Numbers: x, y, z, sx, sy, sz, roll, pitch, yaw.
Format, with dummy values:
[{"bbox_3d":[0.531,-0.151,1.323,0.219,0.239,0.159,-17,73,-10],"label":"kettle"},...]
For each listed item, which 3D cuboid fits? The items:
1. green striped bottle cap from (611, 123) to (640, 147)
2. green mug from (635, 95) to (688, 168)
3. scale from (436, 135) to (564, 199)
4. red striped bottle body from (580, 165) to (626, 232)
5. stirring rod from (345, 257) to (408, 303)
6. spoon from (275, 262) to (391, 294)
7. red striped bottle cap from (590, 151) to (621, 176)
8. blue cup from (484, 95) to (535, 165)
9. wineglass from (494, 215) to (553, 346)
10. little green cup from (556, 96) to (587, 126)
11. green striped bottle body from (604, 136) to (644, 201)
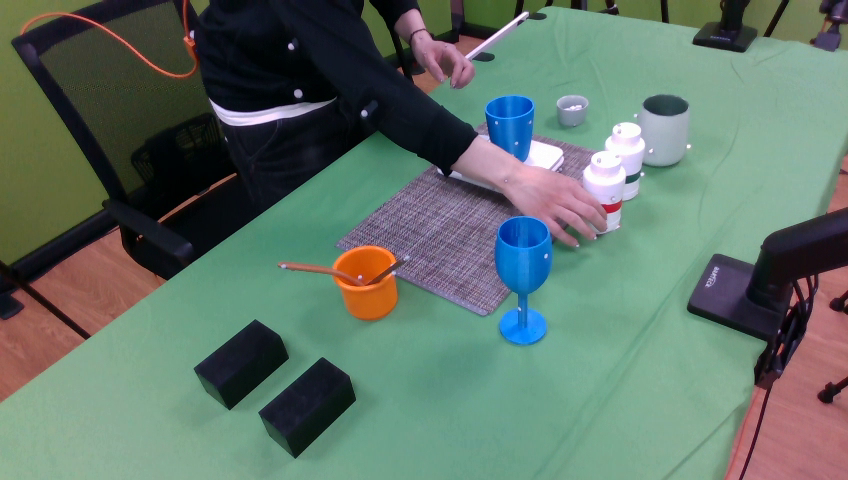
[{"bbox_3d":[0.322,-0.168,0.963,0.044,0.020,0.044,-4,41,4],"label":"green striped bottle cap"},{"bbox_3d":[0.421,-0.201,1.081,0.092,0.105,0.125,5,42,15],"label":"green mug"},{"bbox_3d":[0.137,-0.141,1.101,0.199,0.032,0.149,22,48,30],"label":"scale"},{"bbox_3d":[0.279,-0.075,0.942,0.063,0.120,0.062,-5,42,4],"label":"red striped bottle body"},{"bbox_3d":[-0.067,0.057,0.814,0.014,0.175,0.006,-23,81,-38],"label":"stirring rod"},{"bbox_3d":[-0.120,0.050,0.830,0.041,0.195,0.021,31,97,45],"label":"spoon"},{"bbox_3d":[0.273,-0.115,0.908,0.044,0.018,0.044,-4,44,4],"label":"red striped bottle cap"},{"bbox_3d":[0.151,-0.188,1.052,0.092,0.100,0.092,-6,39,5],"label":"blue cup"},{"bbox_3d":[0.126,0.055,0.770,0.074,0.173,0.073,-4,40,4],"label":"wineglass"},{"bbox_3d":[0.295,-0.258,1.214,0.061,0.039,0.061,-4,42,4],"label":"little green cup"},{"bbox_3d":[0.326,-0.128,0.997,0.063,0.120,0.063,-4,41,4],"label":"green striped bottle body"}]
